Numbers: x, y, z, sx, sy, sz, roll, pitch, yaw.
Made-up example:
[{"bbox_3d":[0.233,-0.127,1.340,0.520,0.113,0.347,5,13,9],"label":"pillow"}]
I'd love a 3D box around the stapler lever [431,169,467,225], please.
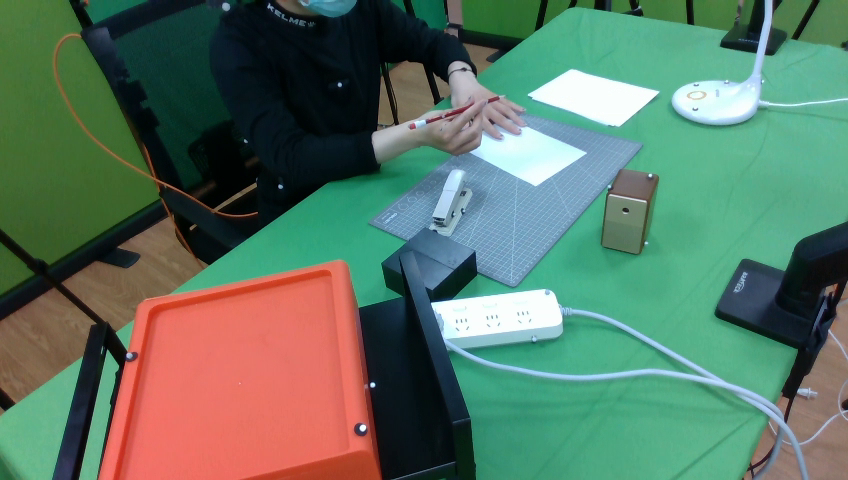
[{"bbox_3d":[0.043,-0.074,1.010,0.026,0.040,0.118,9,44,20],"label":"stapler lever"}]

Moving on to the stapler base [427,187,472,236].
[{"bbox_3d":[0.045,-0.057,1.028,0.041,0.024,0.130,9,44,20],"label":"stapler base"}]

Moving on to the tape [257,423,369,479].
[{"bbox_3d":[-0.121,0.262,0.660,0.117,0.053,0.116,-4,40,4],"label":"tape"}]

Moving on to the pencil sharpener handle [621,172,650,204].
[{"bbox_3d":[0.328,-0.086,0.941,0.036,0.068,0.030,30,49,7],"label":"pencil sharpener handle"}]

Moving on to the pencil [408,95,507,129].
[{"bbox_3d":[0.060,-0.221,1.031,0.195,0.012,0.012,-22,42,-19],"label":"pencil"}]

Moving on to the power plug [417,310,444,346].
[{"bbox_3d":[0.006,0.122,0.785,0.035,0.053,0.072,-1,40,8],"label":"power plug"}]

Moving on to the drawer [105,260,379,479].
[{"bbox_3d":[-0.150,0.127,0.525,0.195,0.073,0.210,-11,41,-5],"label":"drawer"}]

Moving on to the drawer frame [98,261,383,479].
[{"bbox_3d":[-0.148,0.129,0.520,0.202,0.083,0.212,-12,41,-6],"label":"drawer frame"}]

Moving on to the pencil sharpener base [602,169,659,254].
[{"bbox_3d":[0.312,-0.044,0.914,0.061,0.107,0.077,14,45,24],"label":"pencil sharpener base"}]

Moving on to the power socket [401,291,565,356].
[{"bbox_3d":[0.080,0.112,0.822,0.227,0.033,0.072,-6,41,0],"label":"power socket"}]

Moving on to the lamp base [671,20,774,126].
[{"bbox_3d":[0.581,-0.332,1.154,0.179,0.181,0.160,2,41,7],"label":"lamp base"}]
